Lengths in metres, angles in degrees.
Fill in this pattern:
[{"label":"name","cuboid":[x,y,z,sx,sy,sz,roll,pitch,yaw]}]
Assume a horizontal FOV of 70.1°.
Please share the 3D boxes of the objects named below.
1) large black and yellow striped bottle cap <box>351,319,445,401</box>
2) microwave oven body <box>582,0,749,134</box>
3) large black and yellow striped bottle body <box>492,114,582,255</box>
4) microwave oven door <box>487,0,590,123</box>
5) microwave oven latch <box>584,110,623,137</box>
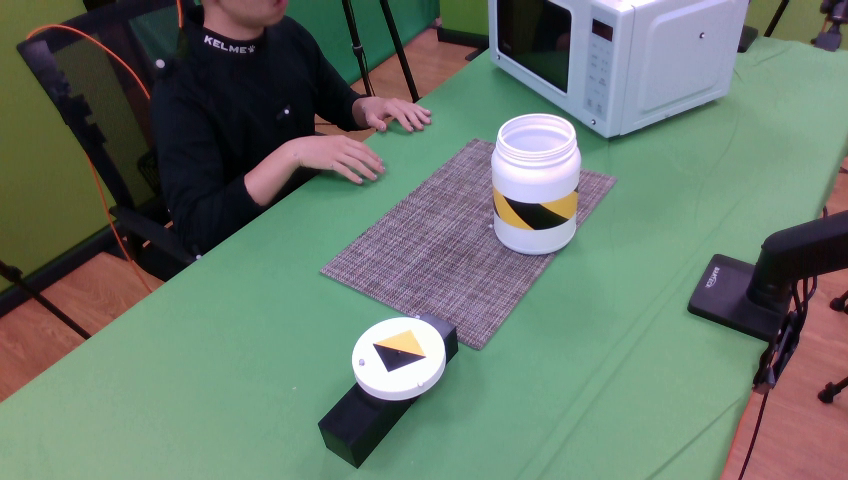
[{"label":"large black and yellow striped bottle cap","cuboid":[-0.031,0.143,0.735,0.115,0.019,0.114,-3,40,3]},{"label":"microwave oven body","cuboid":[0.382,-0.444,1.246,0.327,0.261,0.437,-22,42,-16]},{"label":"large black and yellow striped bottle body","cuboid":[0.169,-0.083,0.912,0.131,0.185,0.130,-4,41,4]},{"label":"microwave oven door","cuboid":[0.232,-0.420,1.231,0.039,0.245,0.352,-22,43,-16]},{"label":"microwave oven latch","cuboid":[0.337,-0.222,1.142,0.030,0.029,0.078,-21,42,-14]}]
